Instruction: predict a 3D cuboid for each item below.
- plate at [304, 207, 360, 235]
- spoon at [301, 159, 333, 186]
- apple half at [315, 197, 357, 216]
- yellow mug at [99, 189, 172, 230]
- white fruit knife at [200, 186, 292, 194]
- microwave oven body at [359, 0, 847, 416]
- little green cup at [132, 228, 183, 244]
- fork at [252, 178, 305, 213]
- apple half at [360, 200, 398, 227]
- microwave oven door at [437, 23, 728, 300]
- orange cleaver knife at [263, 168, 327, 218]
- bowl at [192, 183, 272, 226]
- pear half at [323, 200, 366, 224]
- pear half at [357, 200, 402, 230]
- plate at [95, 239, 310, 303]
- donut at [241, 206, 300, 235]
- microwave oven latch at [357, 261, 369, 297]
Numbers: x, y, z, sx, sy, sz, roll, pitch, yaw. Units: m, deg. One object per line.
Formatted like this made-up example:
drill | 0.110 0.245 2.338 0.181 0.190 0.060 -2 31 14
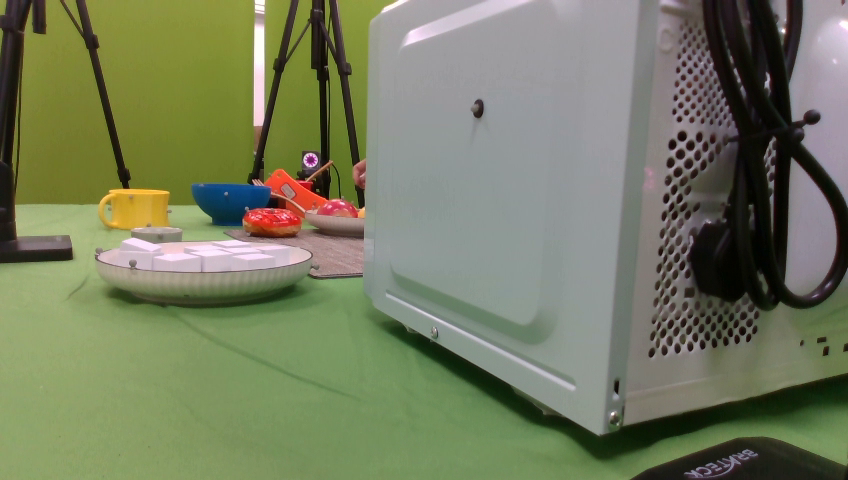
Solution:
plate | -0.123 -0.037 1.149 0.209 0.038 0.209 2 7 0
spoon | -0.316 -0.159 1.639 0.194 0.022 0.041 -49 32 -20
apple half | -0.162 -0.052 1.121 0.081 0.053 0.074 4 7 -14
yellow mug | -0.518 -0.055 1.080 0.099 0.064 0.131 6 9 26
white fruit knife | -0.399 -0.111 1.368 0.208 0.016 0.027 -4 -19 -30
microwave oven body | 0.211 -0.047 0.474 0.444 0.260 0.324 -1 7 -28
little green cup | -0.342 0.006 0.779 0.061 0.038 0.061 2 8 0
fork | -0.295 -0.084 1.292 0.206 0.018 0.028 29 10 25
apple half | -0.087 -0.059 1.190 0.081 0.033 0.081 10 32 -6
microwave oven door | 0.181 -0.072 0.621 0.358 0.243 0.039 -2 8 -29
orange cleaver knife | -0.262 -0.088 1.353 0.211 0.077 0.012 28 13 -1
bowl | -0.381 -0.070 1.202 0.151 0.077 0.151 3 7 0
pear half | -0.155 -0.059 1.197 0.088 0.031 0.070 15 32 -4
pear half | -0.075 -0.047 1.133 0.076 0.056 0.110 13 7 31
plate | -0.224 0.031 0.629 0.208 0.039 0.207 2 8 0
donut | -0.263 -0.032 1.039 0.099 0.048 0.099 4 10 0
microwave oven latch | -0.019 0.033 0.530 0.079 0.029 0.030 -1 7 -26
